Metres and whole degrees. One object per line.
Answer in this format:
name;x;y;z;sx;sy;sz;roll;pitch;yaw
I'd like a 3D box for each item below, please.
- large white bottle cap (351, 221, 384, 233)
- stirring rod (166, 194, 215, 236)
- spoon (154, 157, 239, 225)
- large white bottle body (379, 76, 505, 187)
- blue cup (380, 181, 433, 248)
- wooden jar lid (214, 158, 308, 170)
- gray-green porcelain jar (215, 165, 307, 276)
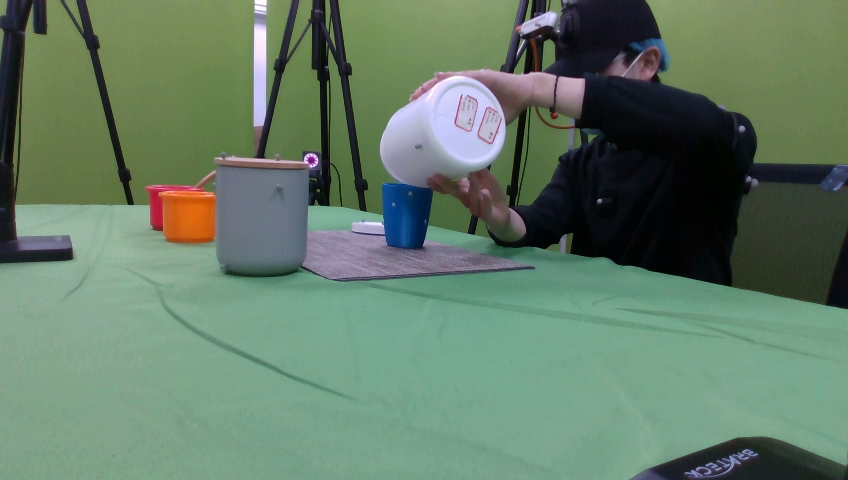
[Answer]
large white bottle cap;-0.082;-0.025;1.162;0.115;0.018;0.115;3;4;0
stirring rod;-0.341;-0.066;0.967;0.176;0.006;0.014;-42;23;-9
spoon;-0.411;-0.092;1.105;0.041;0.022;0.194;13;57;51
large white bottle body;0.018;-0.150;0.889;0.131;0.130;0.184;-2;-5;-28
blue cup;-0.029;-0.041;0.979;0.093;0.100;0.092;3;10;0
wooden jar lid;-0.193;-0.085;0.719;0.108;0.020;0.108;2;9;0
gray-green porcelain jar;-0.195;-0.024;0.726;0.106;0.126;0.106;3;7;0
